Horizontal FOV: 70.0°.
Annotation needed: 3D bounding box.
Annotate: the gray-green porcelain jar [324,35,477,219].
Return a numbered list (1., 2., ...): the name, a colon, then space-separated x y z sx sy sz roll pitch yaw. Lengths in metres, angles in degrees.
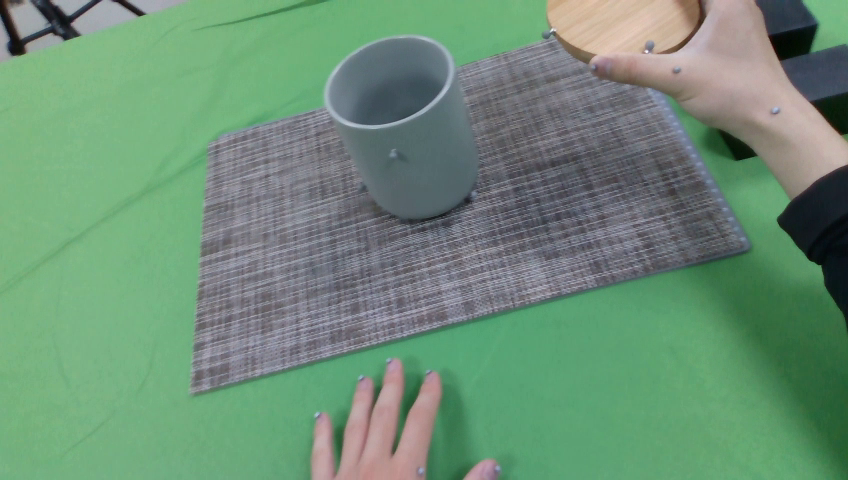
1. gray-green porcelain jar: -0.013 -0.088 0.513 0.105 0.128 0.105 -8 54 11

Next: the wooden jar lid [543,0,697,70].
1. wooden jar lid: 0.143 -0.165 0.448 0.108 0.021 0.107 -3 60 6
